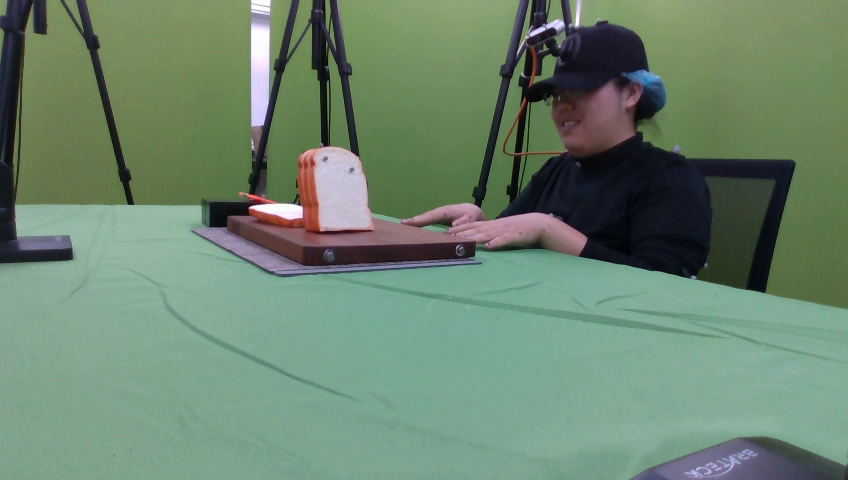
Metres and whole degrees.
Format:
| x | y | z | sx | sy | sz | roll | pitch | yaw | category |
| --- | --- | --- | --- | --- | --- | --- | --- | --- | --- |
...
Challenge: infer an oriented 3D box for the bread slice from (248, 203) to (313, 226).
| x | y | z | sx | sy | sz | roll | pitch | yaw | category |
| --- | --- | --- | --- | --- | --- | --- | --- | --- | --- |
| -0.228 | -0.043 | 1.022 | 0.131 | 0.019 | 0.105 | 13 | 14 | 37 | bread slice |

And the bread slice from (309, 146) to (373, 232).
| x | y | z | sx | sy | sz | roll | pitch | yaw | category |
| --- | --- | --- | --- | --- | --- | --- | --- | --- | --- |
| -0.133 | -0.077 | 0.927 | 0.018 | 0.134 | 0.107 | -13 | -4 | 43 | bread slice |

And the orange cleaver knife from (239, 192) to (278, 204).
| x | y | z | sx | sy | sz | roll | pitch | yaw | category |
| --- | --- | --- | --- | --- | --- | --- | --- | --- | --- |
| -0.268 | -0.064 | 1.235 | 0.212 | 0.012 | 0.077 | 17 | -2 | -26 | orange cleaver knife |
